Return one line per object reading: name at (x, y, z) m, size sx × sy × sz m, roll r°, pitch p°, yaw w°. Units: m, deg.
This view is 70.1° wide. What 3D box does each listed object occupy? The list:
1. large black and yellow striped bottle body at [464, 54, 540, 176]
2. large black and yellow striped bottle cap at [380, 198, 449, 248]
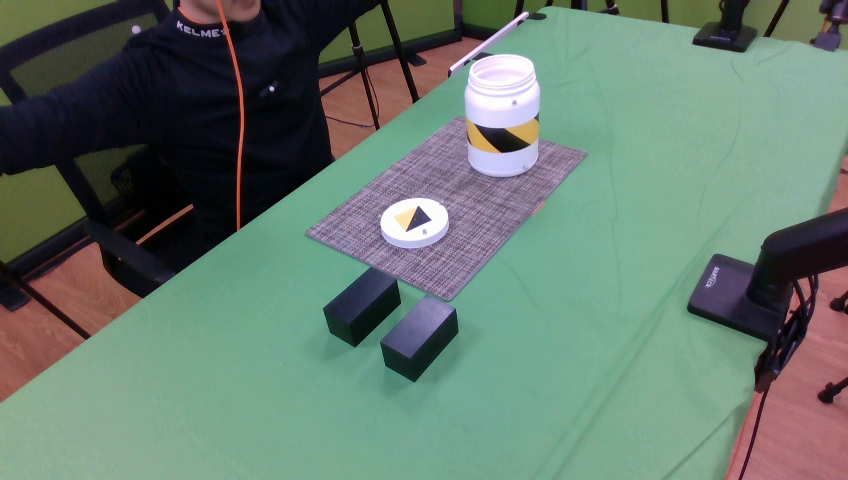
large black and yellow striped bottle body at (0.139, -0.221, 1.075) m, size 0.131 × 0.185 × 0.130 m, roll -4°, pitch 41°, yaw 4°
large black and yellow striped bottle cap at (-0.016, -0.030, 1.004) m, size 0.115 × 0.019 × 0.114 m, roll -5°, pitch 40°, yaw 4°
